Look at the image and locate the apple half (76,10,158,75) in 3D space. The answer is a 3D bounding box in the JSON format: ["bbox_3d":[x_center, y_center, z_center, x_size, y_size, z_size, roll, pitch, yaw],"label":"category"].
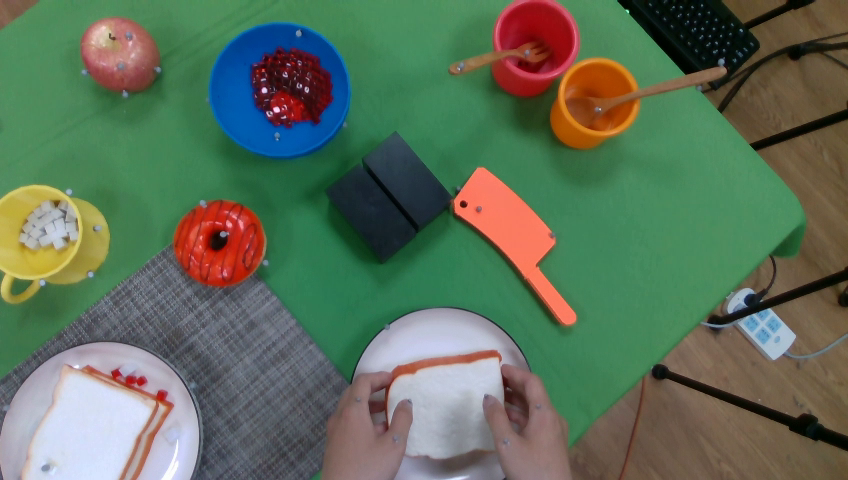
[{"bbox_3d":[-0.338,-0.226,0.682,0.081,0.075,0.053,16,76,3],"label":"apple half"}]

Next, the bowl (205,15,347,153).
[{"bbox_3d":[-0.159,-0.164,0.683,0.151,0.077,0.151,0,84,-3],"label":"bowl"}]

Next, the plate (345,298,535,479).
[{"bbox_3d":[0.018,0.168,0.674,0.209,0.038,0.208,0,83,-3],"label":"plate"}]

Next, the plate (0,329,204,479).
[{"bbox_3d":[-0.337,0.199,0.646,0.208,0.039,0.207,0,83,-3],"label":"plate"}]

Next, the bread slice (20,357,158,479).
[{"bbox_3d":[-0.344,0.200,0.620,0.107,0.018,0.134,18,81,2],"label":"bread slice"}]

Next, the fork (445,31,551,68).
[{"bbox_3d":[0.086,-0.210,0.669,0.207,0.018,0.028,-30,84,-48],"label":"fork"}]

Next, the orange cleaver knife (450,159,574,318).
[{"bbox_3d":[0.114,-0.004,0.711,0.077,0.012,0.211,-39,86,-14],"label":"orange cleaver knife"}]

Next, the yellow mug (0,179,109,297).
[{"bbox_3d":[-0.415,0.003,0.654,0.100,0.064,0.130,26,83,0],"label":"yellow mug"}]

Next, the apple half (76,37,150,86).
[{"bbox_3d":[-0.348,-0.189,0.676,0.081,0.081,0.032,16,77,-1],"label":"apple half"}]

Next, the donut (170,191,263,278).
[{"bbox_3d":[-0.229,-0.006,0.673,0.099,0.048,0.099,1,83,-4],"label":"donut"}]

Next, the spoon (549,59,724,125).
[{"bbox_3d":[0.228,-0.166,0.672,0.022,0.193,0.041,6,79,-48],"label":"spoon"}]

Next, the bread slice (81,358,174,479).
[{"bbox_3d":[-0.344,0.206,0.647,0.105,0.019,0.131,22,81,-1],"label":"bread slice"}]
